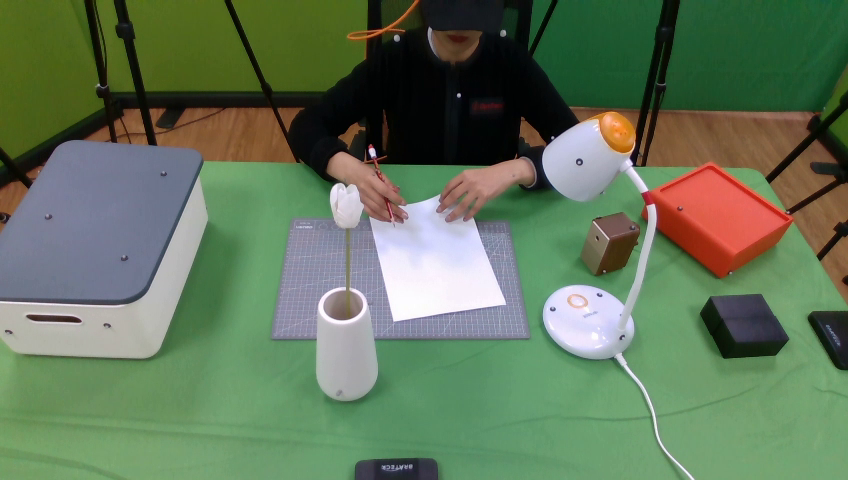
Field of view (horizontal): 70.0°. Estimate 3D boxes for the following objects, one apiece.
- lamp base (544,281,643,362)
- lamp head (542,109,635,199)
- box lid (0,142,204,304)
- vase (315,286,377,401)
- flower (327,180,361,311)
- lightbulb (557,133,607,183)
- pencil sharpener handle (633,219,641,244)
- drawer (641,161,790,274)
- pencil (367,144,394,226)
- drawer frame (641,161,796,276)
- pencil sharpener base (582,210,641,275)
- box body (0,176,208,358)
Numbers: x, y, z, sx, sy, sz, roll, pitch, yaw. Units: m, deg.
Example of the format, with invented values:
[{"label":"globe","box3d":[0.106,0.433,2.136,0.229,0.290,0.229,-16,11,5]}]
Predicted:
[{"label":"lamp base","box3d":[0.303,0.095,1.014,0.161,0.181,0.178,-24,54,-24]},{"label":"lamp head","box3d":[0.253,-0.131,0.893,0.113,0.123,0.112,10,66,-24]},{"label":"box lid","box3d":[-0.534,-0.044,0.995,0.263,0.015,0.369,3,45,-3]},{"label":"vase","box3d":[-0.119,0.159,0.911,0.098,0.201,0.097,2,47,-2]},{"label":"flower","box3d":[-0.110,0.086,0.867,0.044,0.363,0.038,22,33,35]},{"label":"lightbulb","box3d":[0.243,-0.127,0.916,0.059,0.108,0.059,6,67,-13]},{"label":"pencil sharpener handle","box3d":[0.405,-0.015,1.162,0.031,0.068,0.035,-15,45,-18]},{"label":"drawer","box3d":[0.596,-0.051,1.246,0.194,0.073,0.210,-23,53,-25]},{"label":"pencil","box3d":[-0.082,-0.108,1.166,0.012,0.012,0.193,-11,62,-14]},{"label":"drawer frame","box3d":[0.599,-0.051,1.244,0.202,0.083,0.212,-24,52,-25]},{"label":"pencil sharpener base","box3d":[0.357,0.005,1.156,0.077,0.107,0.061,-15,48,-18]},{"label":"box body","box3d":[-0.546,0.017,1.045,0.254,0.161,0.361,2,46,-2]}]
